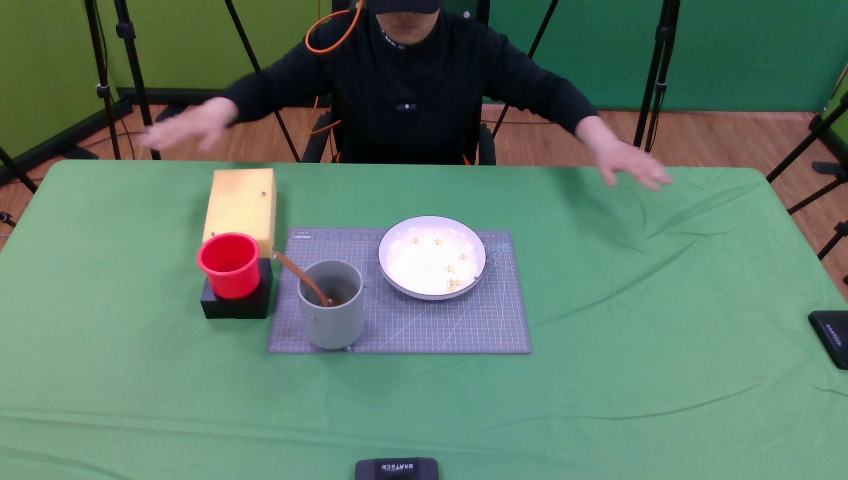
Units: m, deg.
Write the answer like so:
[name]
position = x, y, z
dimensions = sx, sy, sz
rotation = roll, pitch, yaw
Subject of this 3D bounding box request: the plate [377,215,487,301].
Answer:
[plate]
position = 0.014, 0.037, 1.147
dimensions = 0.208, 0.039, 0.206
rotation = 2, 46, -2

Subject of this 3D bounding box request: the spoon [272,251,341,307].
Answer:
[spoon]
position = -0.180, 0.077, 0.981
dimensions = 0.021, 0.195, 0.041
rotation = -9, 45, 28

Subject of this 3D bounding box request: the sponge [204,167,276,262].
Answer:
[sponge]
position = -0.358, -0.054, 1.196
dimensions = 0.118, 0.061, 0.205
rotation = -4, 47, -8

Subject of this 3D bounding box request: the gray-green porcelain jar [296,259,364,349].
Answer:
[gray-green porcelain jar]
position = -0.152, 0.111, 1.003
dimensions = 0.106, 0.127, 0.105
rotation = 2, 46, -2
